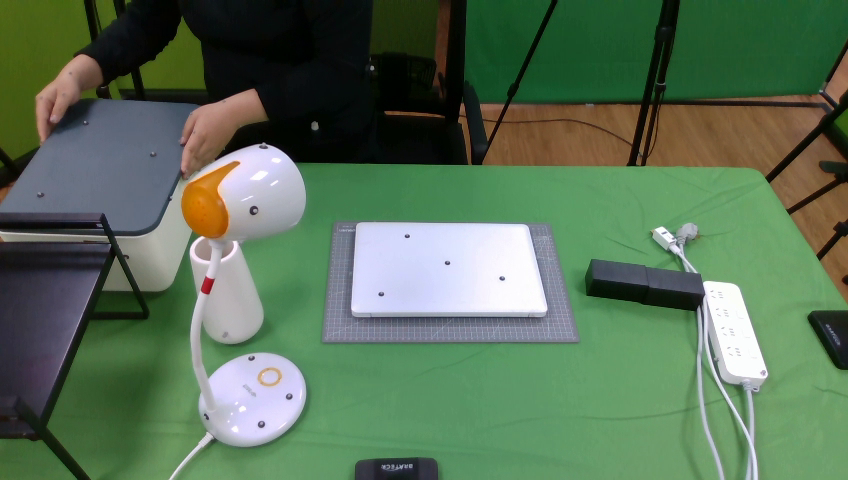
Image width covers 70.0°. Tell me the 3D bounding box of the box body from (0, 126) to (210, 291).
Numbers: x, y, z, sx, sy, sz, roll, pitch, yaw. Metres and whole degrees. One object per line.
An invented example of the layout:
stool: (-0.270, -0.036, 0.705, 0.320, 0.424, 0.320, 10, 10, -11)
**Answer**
box body: (-0.567, -0.083, 1.134, 0.254, 0.161, 0.361, 1, 46, -3)

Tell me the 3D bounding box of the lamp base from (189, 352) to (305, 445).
lamp base: (-0.268, 0.196, 0.876, 0.160, 0.181, 0.179, 25, 52, 19)

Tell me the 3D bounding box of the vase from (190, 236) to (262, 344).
vase: (-0.317, 0.081, 0.971, 0.098, 0.201, 0.097, 3, 47, -3)

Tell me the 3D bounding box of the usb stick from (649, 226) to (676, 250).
usb stick: (0.485, -0.008, 1.237, 0.021, 0.027, 0.059, -22, 44, -13)

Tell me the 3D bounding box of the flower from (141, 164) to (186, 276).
flower: (-0.492, -0.055, 1.173, 0.044, 0.038, 0.359, -39, 34, 18)

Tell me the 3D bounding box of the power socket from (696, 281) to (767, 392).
power socket: (0.543, 0.161, 1.077, 0.072, 0.033, 0.225, 6, 46, 2)

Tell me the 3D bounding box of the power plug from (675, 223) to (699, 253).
power plug: (0.537, 0.000, 1.244, 0.053, 0.035, 0.072, 19, 82, -17)

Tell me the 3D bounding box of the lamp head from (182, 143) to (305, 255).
lamp head: (-0.216, -0.044, 0.697, 0.112, 0.113, 0.123, 23, 31, 17)

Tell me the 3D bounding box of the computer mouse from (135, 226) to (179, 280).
computer mouse: (-0.492, 0.020, 1.118, 0.063, 0.041, 0.116, 1, 54, -9)

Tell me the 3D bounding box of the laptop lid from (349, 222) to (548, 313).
laptop lid: (0.042, 0.046, 1.142, 0.357, 0.013, 0.240, 2, 44, -3)

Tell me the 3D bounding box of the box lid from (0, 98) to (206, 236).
box lid: (-0.559, -0.141, 1.078, 0.263, 0.015, 0.369, 2, 46, -3)

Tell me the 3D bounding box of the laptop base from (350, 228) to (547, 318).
laptop base: (0.041, 0.056, 1.149, 0.355, 0.023, 0.234, 0, 43, -4)
